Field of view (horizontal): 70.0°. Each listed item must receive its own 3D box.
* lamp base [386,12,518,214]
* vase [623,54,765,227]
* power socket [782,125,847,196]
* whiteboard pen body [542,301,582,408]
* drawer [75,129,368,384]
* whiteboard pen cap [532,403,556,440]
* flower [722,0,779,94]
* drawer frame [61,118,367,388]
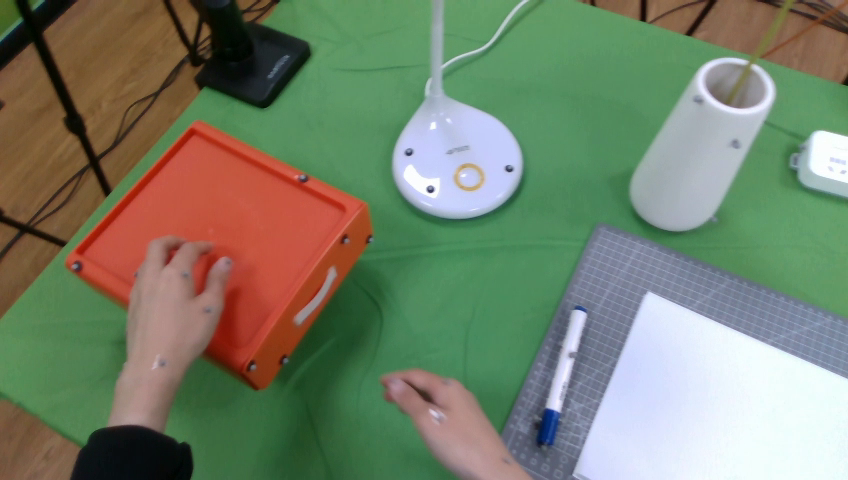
[{"bbox_3d":[0.024,-0.147,0.678,0.161,0.182,0.177,-27,61,-12],"label":"lamp base"},{"bbox_3d":[0.275,-0.097,0.632,0.098,0.201,0.097,-1,61,3],"label":"vase"},{"bbox_3d":[0.543,-0.076,0.706,0.226,0.033,0.072,18,65,11],"label":"power socket"},{"bbox_3d":[0.138,0.126,0.613,0.017,0.017,0.140,17,66,11],"label":"whiteboard pen body"},{"bbox_3d":[-0.195,0.008,0.609,0.211,0.074,0.194,26,66,15],"label":"drawer"},{"bbox_3d":[0.118,0.177,0.590,0.018,0.018,0.033,17,65,11],"label":"whiteboard pen cap"},{"bbox_3d":[0.286,-0.148,0.566,0.038,0.364,0.043,12,45,1],"label":"flower"},{"bbox_3d":[-0.200,0.007,0.611,0.212,0.083,0.201,26,66,13],"label":"drawer frame"}]
